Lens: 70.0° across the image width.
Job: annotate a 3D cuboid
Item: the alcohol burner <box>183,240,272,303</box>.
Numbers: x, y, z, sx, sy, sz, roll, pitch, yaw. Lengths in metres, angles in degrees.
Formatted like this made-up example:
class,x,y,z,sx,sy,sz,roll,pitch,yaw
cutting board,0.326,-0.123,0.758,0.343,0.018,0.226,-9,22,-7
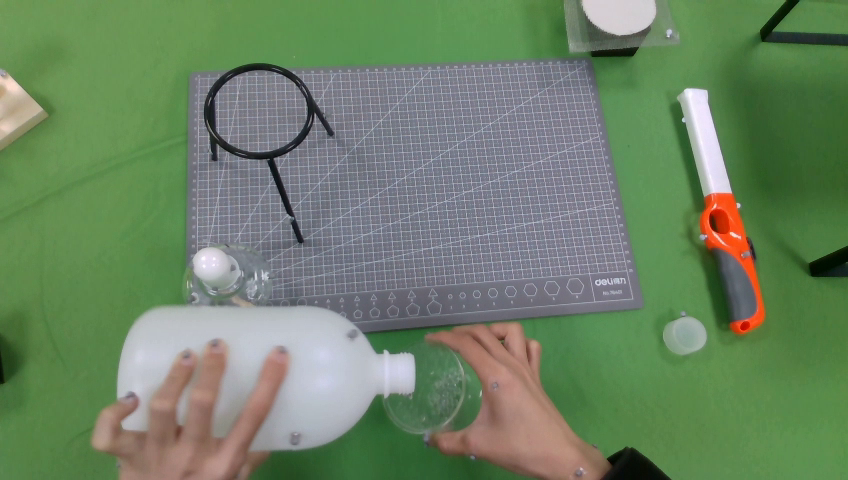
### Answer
class,x,y,z,sx,sy,sz,roll,pitch,yaw
alcohol burner,-0.176,0.032,0.533,0.078,0.119,0.077,2,70,-6

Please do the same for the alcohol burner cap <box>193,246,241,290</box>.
class,x,y,z,sx,sy,sz,roll,pitch,yaw
alcohol burner cap,-0.173,0.022,0.499,0.034,0.048,0.033,1,77,-4

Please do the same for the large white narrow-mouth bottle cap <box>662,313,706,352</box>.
class,x,y,z,sx,sy,sz,roll,pitch,yaw
large white narrow-mouth bottle cap,0.260,0.093,0.606,0.038,0.024,0.037,1,71,-3

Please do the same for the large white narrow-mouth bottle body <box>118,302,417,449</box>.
class,x,y,z,sx,sy,sz,roll,pitch,yaw
large white narrow-mouth bottle body,-0.102,0.096,0.437,0.195,0.102,0.101,1,71,-7

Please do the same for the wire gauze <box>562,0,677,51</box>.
class,x,y,z,sx,sy,sz,roll,pitch,yaw
wire gauze,0.211,-0.266,0.673,0.121,0.011,0.124,-2,73,-6

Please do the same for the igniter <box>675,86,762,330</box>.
class,x,y,z,sx,sy,sz,roll,pitch,yaw
igniter,0.314,-0.041,0.649,0.057,0.025,0.274,0,72,-16

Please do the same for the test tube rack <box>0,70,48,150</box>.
class,x,y,z,sx,sy,sz,roll,pitch,yaw
test tube rack,-0.492,-0.084,0.560,0.066,0.085,0.242,43,73,9

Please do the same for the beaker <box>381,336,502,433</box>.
class,x,y,z,sx,sy,sz,roll,pitch,yaw
beaker,0.018,0.128,0.523,0.083,0.101,0.073,1,72,29

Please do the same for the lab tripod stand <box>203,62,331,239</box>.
class,x,y,z,sx,sy,sz,roll,pitch,yaw
lab tripod stand,-0.141,-0.087,0.565,0.148,0.132,0.147,2,72,-6
